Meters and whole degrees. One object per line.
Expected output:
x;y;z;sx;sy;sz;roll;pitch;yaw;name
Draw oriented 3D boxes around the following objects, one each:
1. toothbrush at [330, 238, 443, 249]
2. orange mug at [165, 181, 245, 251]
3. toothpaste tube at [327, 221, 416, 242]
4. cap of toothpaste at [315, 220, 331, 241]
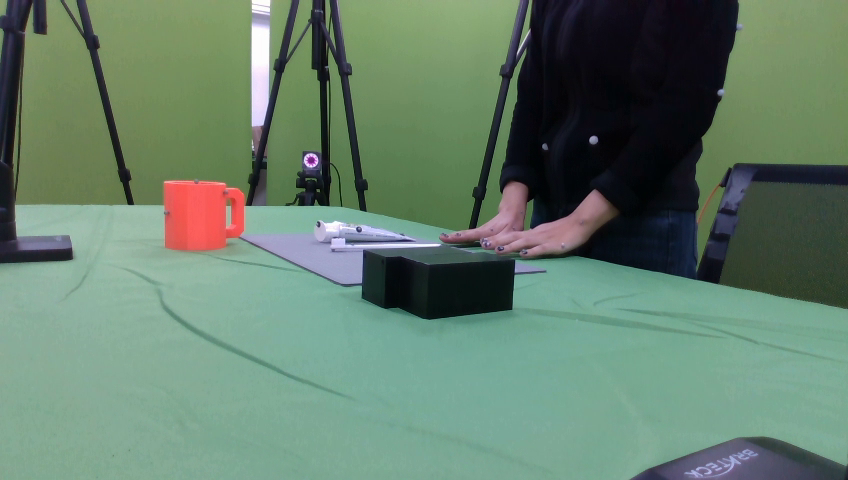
-0.054;0.006;0.927;0.183;0.016;0.014;1;-8;-23;toothbrush
-0.326;-0.040;0.911;0.083;0.101;0.127;8;14;37;orange mug
-0.095;-0.012;1.026;0.166;0.034;0.055;2;13;-33;toothpaste tube
-0.164;-0.016;0.982;0.011;0.037;0.037;-8;12;-43;cap of toothpaste
